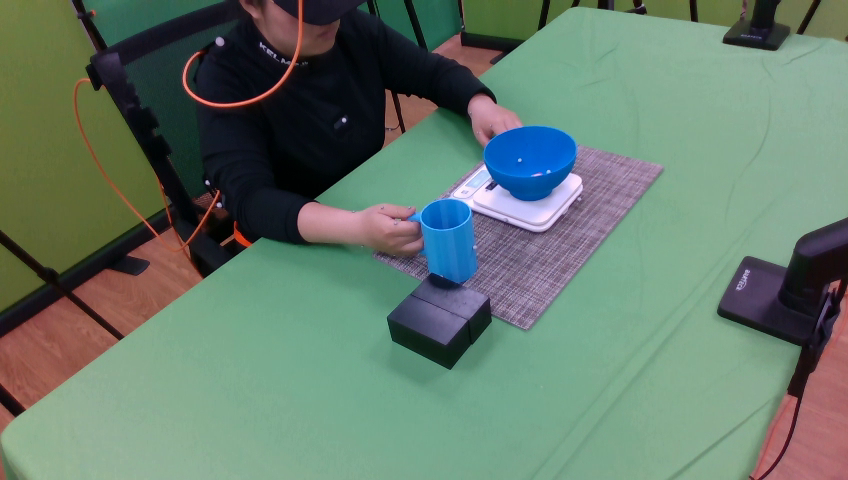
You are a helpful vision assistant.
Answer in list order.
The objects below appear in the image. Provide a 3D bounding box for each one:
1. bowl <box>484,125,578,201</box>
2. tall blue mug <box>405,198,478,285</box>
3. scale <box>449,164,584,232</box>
[{"bbox_3d":[0.175,-0.117,0.991,0.151,0.077,0.150,-6,41,5],"label":"bowl"},{"bbox_3d":[0.023,0.003,0.900,0.107,0.108,0.077,-4,41,6],"label":"tall blue mug"},{"bbox_3d":[0.156,-0.085,1.040,0.199,0.032,0.149,22,49,32],"label":"scale"}]
